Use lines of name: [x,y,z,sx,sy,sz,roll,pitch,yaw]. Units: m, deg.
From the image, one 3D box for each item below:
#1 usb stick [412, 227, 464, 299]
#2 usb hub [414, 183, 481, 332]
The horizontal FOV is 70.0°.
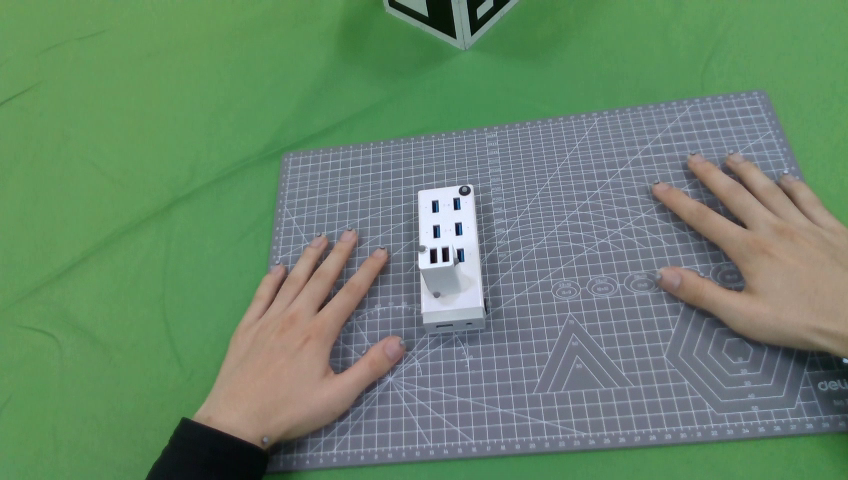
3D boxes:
usb stick: [0.010,0.015,0.439,0.027,0.060,0.021,-29,49,-10]
usb hub: [0.018,0.012,0.491,0.049,0.025,0.124,-5,59,6]
